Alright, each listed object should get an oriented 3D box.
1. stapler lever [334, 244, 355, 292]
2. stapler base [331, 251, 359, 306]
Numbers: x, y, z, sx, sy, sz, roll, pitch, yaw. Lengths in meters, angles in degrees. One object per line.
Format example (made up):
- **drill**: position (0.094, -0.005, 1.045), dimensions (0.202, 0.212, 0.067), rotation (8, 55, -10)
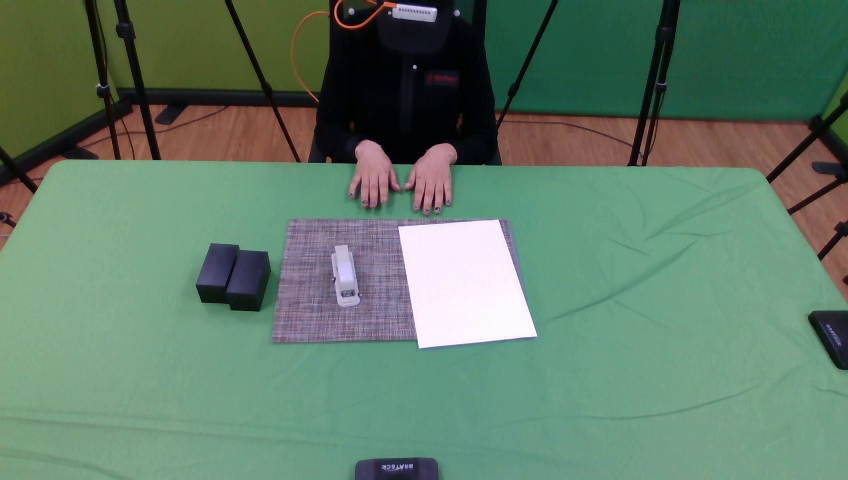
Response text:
- **stapler lever**: position (-0.146, 0.045, 1.103), dimensions (0.027, 0.040, 0.117), rotation (-4, 45, -12)
- **stapler base**: position (-0.147, 0.064, 1.120), dimensions (0.041, 0.024, 0.129), rotation (-4, 45, -13)
